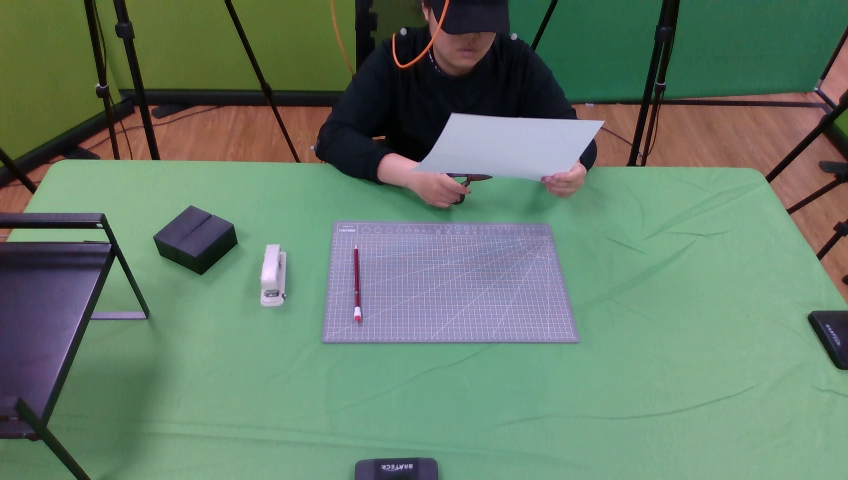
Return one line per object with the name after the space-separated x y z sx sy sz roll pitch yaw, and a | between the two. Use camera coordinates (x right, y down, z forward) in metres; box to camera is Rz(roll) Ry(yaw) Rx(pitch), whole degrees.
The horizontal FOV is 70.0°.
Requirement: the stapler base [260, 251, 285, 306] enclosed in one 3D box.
-0.279 0.064 1.113 0.041 0.024 0.129 -2 44 -9 | stapler base

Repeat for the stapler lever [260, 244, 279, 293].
-0.279 0.045 1.096 0.027 0.040 0.117 -2 44 -9 | stapler lever

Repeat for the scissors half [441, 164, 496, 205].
0.089 -0.111 1.204 0.013 0.175 0.040 -7 73 -37 | scissors half

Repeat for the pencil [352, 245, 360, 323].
-0.127 0.076 1.120 0.012 0.012 0.192 -2 44 -7 | pencil

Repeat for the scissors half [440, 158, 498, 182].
0.088 -0.135 1.204 0.013 0.040 0.174 -1 17 -36 | scissors half
